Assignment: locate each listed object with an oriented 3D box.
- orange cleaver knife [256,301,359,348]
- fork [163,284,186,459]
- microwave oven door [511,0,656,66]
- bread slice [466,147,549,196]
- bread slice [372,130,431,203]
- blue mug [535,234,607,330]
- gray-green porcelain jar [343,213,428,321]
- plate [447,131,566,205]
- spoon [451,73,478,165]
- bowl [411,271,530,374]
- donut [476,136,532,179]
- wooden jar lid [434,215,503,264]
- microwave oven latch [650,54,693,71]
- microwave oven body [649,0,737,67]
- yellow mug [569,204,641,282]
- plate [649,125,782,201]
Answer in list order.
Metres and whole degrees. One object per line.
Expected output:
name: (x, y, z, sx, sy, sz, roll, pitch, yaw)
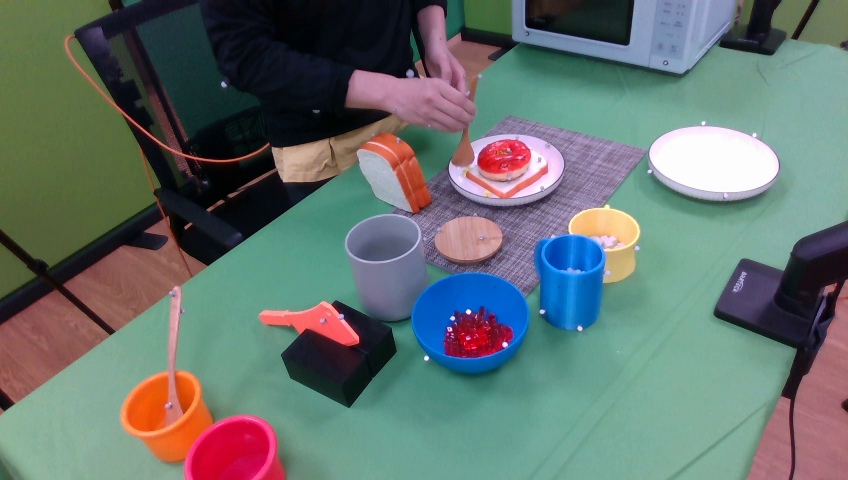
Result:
orange cleaver knife: (-0.160, 0.115, 0.813, 0.210, 0.077, 0.012, -9, 29, 48)
fork: (-0.302, 0.157, 0.733, 0.028, 0.019, 0.207, -4, 84, 16)
microwave oven door: (0.351, -0.540, 1.349, 0.353, 0.245, 0.039, 24, 50, 31)
bread slice: (0.156, -0.129, 1.084, 0.132, 0.019, 0.104, -34, 48, -23)
bread slice: (-0.042, -0.127, 1.039, 0.106, 0.135, 0.018, 29, 62, 33)
blue mug: (0.191, 0.048, 0.824, 0.082, 0.106, 0.115, -26, 44, -20)
gray-green porcelain jar: (-0.049, 0.042, 0.849, 0.106, 0.127, 0.105, -4, 41, 4)
plate: (0.146, -0.124, 1.076, 0.209, 0.038, 0.208, -4, 41, 4)
spoon: (0.068, -0.189, 0.975, 0.042, 0.194, 0.021, -3, 49, -6)
bowl: (0.062, 0.120, 0.780, 0.151, 0.077, 0.150, -4, 40, 4)
donut: (0.140, -0.146, 1.059, 0.099, 0.048, 0.098, -6, 41, 6)
wooden jar lid: (0.070, 0.001, 0.956, 0.108, 0.021, 0.108, -4, 40, 4)
microwave oven latch: (0.531, -0.386, 1.301, 0.078, 0.029, 0.030, 26, 51, 33)
microwave oven body: (0.475, -0.602, 1.411, 0.438, 0.261, 0.327, 23, 50, 32)
yellow mug: (0.268, -0.005, 0.904, 0.099, 0.064, 0.130, 7, 42, 15)
plate: (0.493, -0.127, 1.036, 0.207, 0.039, 0.206, -4, 41, 4)
